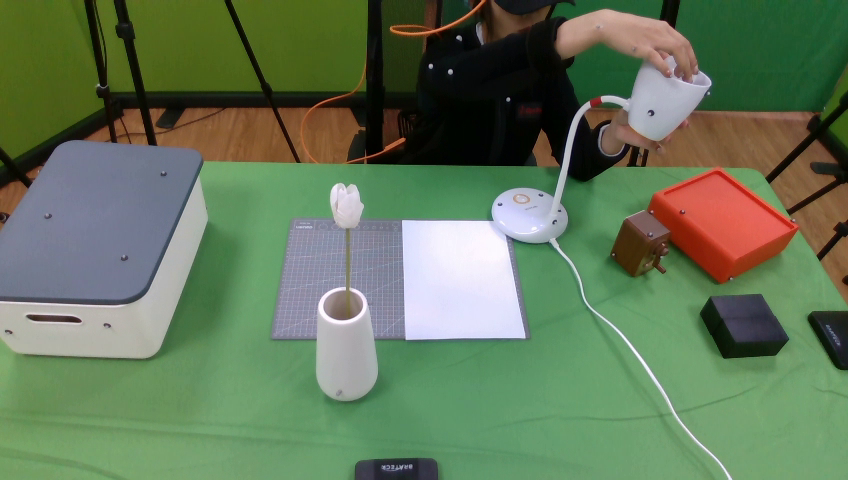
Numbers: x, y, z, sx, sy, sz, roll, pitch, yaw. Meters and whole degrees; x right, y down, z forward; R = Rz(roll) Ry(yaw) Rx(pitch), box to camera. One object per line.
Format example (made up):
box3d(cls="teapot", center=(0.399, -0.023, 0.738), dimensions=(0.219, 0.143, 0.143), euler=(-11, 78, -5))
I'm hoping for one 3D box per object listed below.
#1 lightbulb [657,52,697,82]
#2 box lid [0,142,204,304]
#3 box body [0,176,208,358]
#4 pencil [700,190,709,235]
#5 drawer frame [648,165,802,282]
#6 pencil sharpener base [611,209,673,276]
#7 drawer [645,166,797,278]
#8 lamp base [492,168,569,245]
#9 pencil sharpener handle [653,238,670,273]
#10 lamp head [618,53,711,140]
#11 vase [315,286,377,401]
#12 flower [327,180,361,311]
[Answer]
box3d(cls="lightbulb", center=(0.391, -0.245, 0.967), dimensions=(0.059, 0.108, 0.059), euler=(13, 29, -8))
box3d(cls="box lid", center=(-0.534, -0.044, 0.995), dimensions=(0.263, 0.015, 0.369), euler=(3, 45, -3))
box3d(cls="box body", center=(-0.546, 0.017, 1.045), dimensions=(0.254, 0.161, 0.361), euler=(2, 46, -2))
box3d(cls="pencil", center=(0.583, -0.058, 1.257), dimensions=(0.012, 0.012, 0.193), euler=(16, 35, 12))
box3d(cls="drawer frame", center=(0.603, -0.040, 1.234), dimensions=(0.202, 0.083, 0.212), euler=(-21, 51, -23))
box3d(cls="pencil sharpener base", center=(0.416, 0.007, 1.158), dimensions=(0.061, 0.107, 0.076), euler=(-21, 51, -22))
box3d(cls="drawer", center=(0.600, -0.041, 1.236), dimensions=(0.195, 0.073, 0.210), euler=(-21, 51, -23))
box3d(cls="lamp base", center=(0.234, -0.101, 1.199), dimensions=(0.161, 0.181, 0.178), euler=(-23, 55, -25))
box3d(cls="pencil sharpener handle", center=(0.444, 0.030, 1.120), dimensions=(0.036, 0.068, 0.030), euler=(-25, 52, -18))
box3d(cls="lamp head", center=(0.377, -0.227, 0.979), dimensions=(0.112, 0.123, 0.111), euler=(15, 39, -12))
box3d(cls="vase", center=(-0.119, 0.159, 0.911), dimensions=(0.098, 0.201, 0.097), euler=(3, 47, -2))
box3d(cls="flower", center=(-0.110, 0.086, 0.867), dimensions=(0.044, 0.363, 0.038), euler=(22, 33, 35))
